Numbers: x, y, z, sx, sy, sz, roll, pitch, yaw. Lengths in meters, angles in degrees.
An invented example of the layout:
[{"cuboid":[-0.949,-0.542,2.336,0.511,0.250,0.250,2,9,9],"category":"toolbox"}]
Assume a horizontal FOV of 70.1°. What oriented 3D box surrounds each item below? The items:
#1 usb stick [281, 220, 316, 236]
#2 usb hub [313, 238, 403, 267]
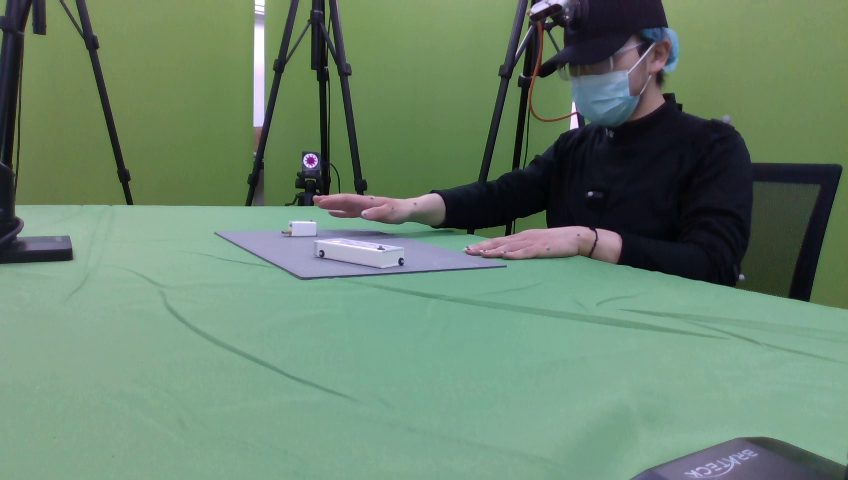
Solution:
[{"cuboid":[-0.220,-0.020,1.054,0.059,0.027,0.021,-5,11,-32],"category":"usb stick"},{"cuboid":[-0.091,0.016,0.818,0.124,0.025,0.050,7,9,36],"category":"usb hub"}]
